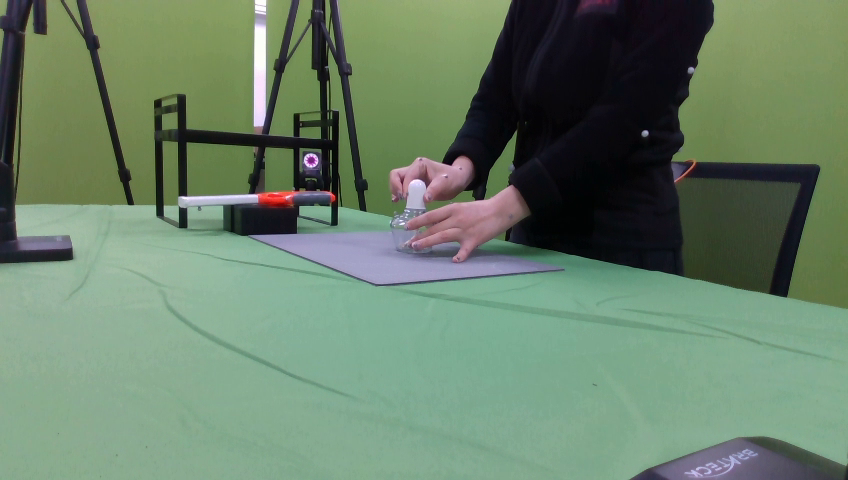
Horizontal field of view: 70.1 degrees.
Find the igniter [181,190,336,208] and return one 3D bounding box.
[{"bbox_3d":[-0.294,-0.076,1.103,0.278,0.025,0.057,-5,12,-33],"label":"igniter"}]

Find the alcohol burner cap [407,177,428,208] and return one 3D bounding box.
[{"bbox_3d":[-0.011,-0.072,0.925,0.034,0.048,0.034,-2,-3,0],"label":"alcohol burner cap"}]

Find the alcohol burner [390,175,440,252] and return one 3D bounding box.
[{"bbox_3d":[-0.013,-0.041,0.929,0.078,0.119,0.078,4,7,0],"label":"alcohol burner"}]
